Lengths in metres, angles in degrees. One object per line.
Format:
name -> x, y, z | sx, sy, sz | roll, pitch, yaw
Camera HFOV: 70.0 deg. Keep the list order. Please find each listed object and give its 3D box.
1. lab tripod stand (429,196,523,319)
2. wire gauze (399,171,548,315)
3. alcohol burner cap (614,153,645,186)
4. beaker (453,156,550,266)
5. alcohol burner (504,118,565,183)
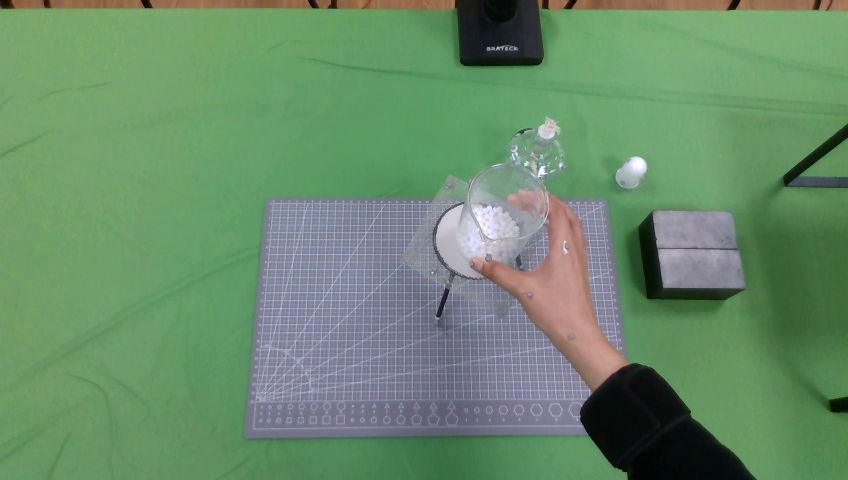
lab tripod stand -> 0.053, 0.015, 0.701 | 0.148, 0.132, 0.147 | 1, 69, -3
wire gauze -> 0.053, -0.002, 0.636 | 0.125, 0.011, 0.121 | 27, 71, 7
alcohol burner cap -> 0.274, -0.095, 0.800 | 0.034, 0.048, 0.033 | 0, 69, -1
beaker -> 0.067, -0.019, 0.571 | 0.074, 0.101, 0.083 | 26, 70, 4
alcohol burner -> 0.143, -0.120, 0.766 | 0.078, 0.120, 0.077 | 1, 70, -3
